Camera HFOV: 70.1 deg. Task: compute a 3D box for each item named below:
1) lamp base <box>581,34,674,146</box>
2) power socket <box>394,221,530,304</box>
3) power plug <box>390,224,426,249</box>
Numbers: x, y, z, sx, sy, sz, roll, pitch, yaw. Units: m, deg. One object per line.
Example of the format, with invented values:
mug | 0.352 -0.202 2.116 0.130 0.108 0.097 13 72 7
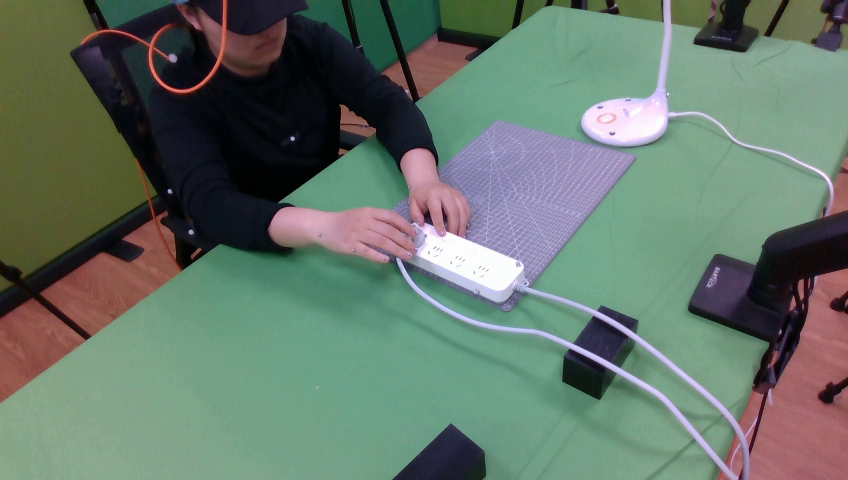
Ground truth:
lamp base | 0.392 -0.291 1.129 0.180 0.181 0.159 -11 41 -8
power socket | 0.050 0.030 0.914 0.225 0.033 0.072 24 51 31
power plug | -0.030 0.004 0.920 0.073 0.053 0.035 -33 47 -26
